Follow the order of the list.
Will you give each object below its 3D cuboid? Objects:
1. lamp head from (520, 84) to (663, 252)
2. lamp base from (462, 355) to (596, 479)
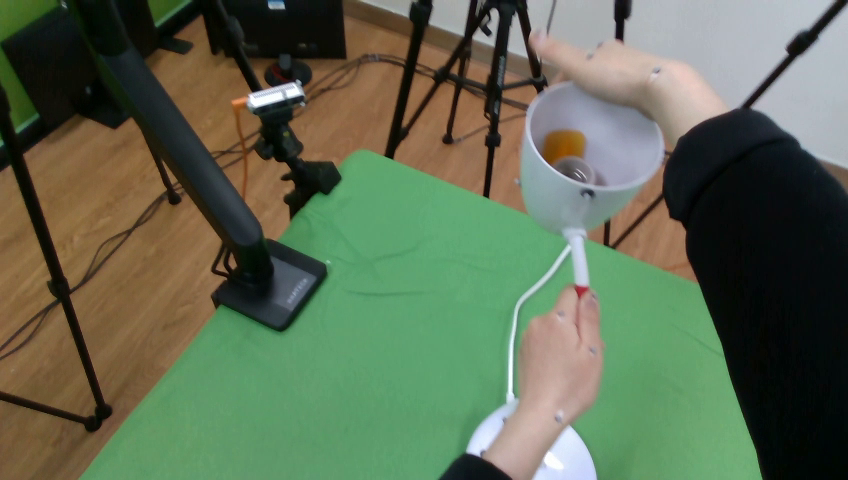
[{"bbox_3d":[0.134,-0.053,0.531,0.112,0.124,0.111,3,54,-3],"label":"lamp head"},{"bbox_3d":[0.126,0.219,0.672,0.161,0.182,0.177,-12,52,-13],"label":"lamp base"}]
